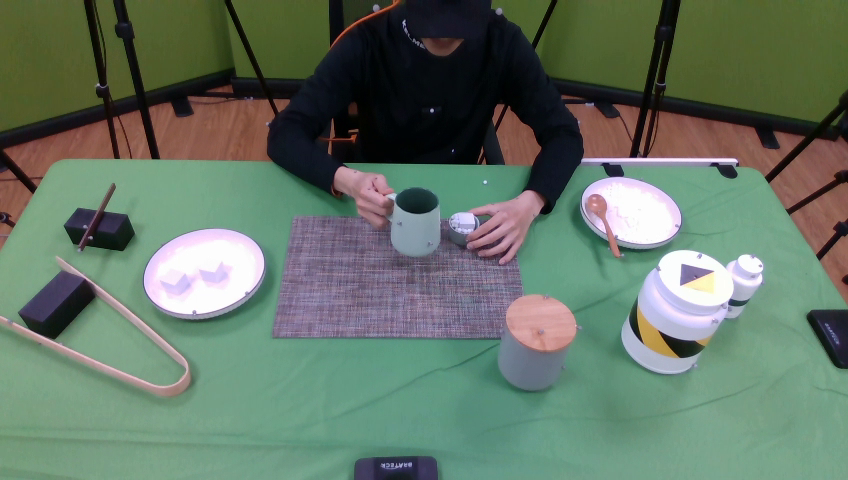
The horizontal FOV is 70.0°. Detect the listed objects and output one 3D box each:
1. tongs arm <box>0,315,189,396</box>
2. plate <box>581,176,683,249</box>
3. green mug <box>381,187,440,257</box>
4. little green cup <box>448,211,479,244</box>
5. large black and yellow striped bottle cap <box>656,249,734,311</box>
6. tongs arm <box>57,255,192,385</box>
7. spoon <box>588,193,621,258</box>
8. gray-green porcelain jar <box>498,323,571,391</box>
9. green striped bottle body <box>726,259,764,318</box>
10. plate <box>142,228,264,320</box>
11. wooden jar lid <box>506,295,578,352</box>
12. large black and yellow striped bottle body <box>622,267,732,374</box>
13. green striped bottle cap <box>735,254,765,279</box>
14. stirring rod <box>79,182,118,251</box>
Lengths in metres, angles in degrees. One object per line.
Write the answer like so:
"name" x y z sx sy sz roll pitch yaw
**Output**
"tongs arm" -0.555 0.170 0.981 0.384 0.026 0.050 21 43 14
"plate" 0.430 -0.054 1.267 0.209 0.038 0.208 2 46 -2
"green mug" -0.028 -0.038 1.096 0.125 0.105 0.092 29 48 26
"little green cup" 0.079 -0.024 1.205 0.061 0.039 0.061 -1 50 1
"large black and yellow striped bottle cap" 0.419 0.061 0.938 0.115 0.019 0.114 2 47 -2
"tongs arm" -0.517 0.126 1.033 0.386 0.028 0.028 30 43 23
"spoon" 0.367 -0.032 1.220 0.041 0.022 0.192 2 38 -1
"gray-green porcelain jar" 0.176 0.172 0.971 0.106 0.127 0.105 2 46 -2
"green striped bottle body" 0.563 0.081 1.089 0.063 0.120 0.063 2 46 -2
"plate" -0.394 0.064 1.095 0.208 0.039 0.206 2 46 -2
"wooden jar lid" 0.179 0.130 0.925 0.108 0.021 0.107 2 43 -2
"large black and yellow striped bottle body" 0.415 0.119 0.997 0.131 0.185 0.130 2 46 -2
"green striped bottle cap" 0.566 0.046 1.051 0.044 0.020 0.044 0 45 0
"stirring rod" -0.605 -0.047 1.130 0.006 0.014 0.175 0 47 0
